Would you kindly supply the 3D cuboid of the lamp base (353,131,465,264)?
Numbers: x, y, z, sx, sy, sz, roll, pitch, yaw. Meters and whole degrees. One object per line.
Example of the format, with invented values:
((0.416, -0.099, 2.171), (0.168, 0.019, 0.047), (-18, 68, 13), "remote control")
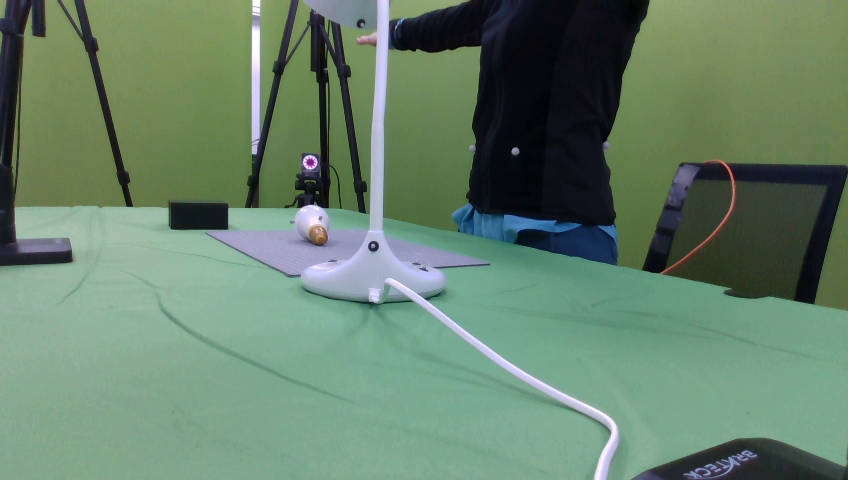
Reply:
((-0.014, -0.062, 0.851), (0.161, 0.180, 0.178), (-1, 11, -20), "lamp base")
